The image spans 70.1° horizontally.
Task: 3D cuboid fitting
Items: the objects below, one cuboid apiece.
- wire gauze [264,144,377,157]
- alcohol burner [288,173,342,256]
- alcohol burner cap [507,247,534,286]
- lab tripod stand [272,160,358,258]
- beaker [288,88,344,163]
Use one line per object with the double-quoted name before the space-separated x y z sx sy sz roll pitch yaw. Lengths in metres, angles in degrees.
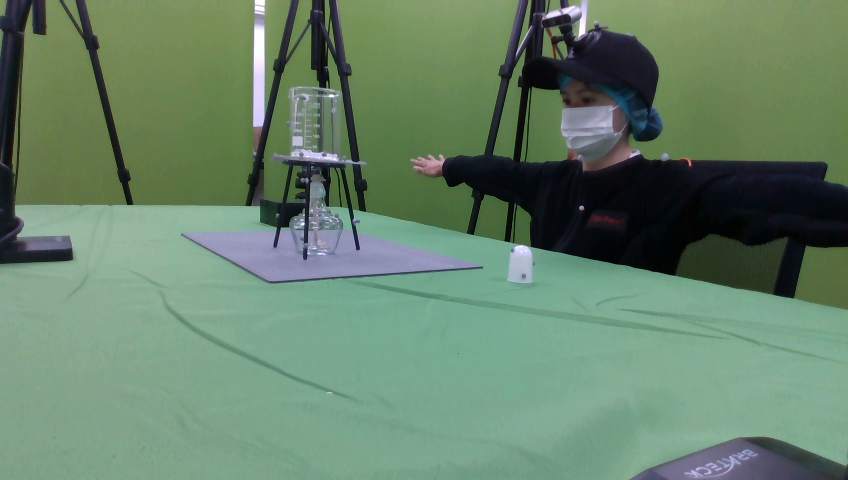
"wire gauze" -0.151 -0.128 0.869 0.122 0.011 0.124 -5 5 -35
"alcohol burner" -0.157 -0.037 0.871 0.078 0.119 0.078 1 6 0
"alcohol burner cap" 0.119 0.032 0.740 0.034 0.048 0.034 1 6 0
"lab tripod stand" -0.159 -0.048 0.876 0.148 0.131 0.148 3 5 0
"beaker" -0.158 -0.160 0.859 0.084 0.100 0.074 5 6 20
